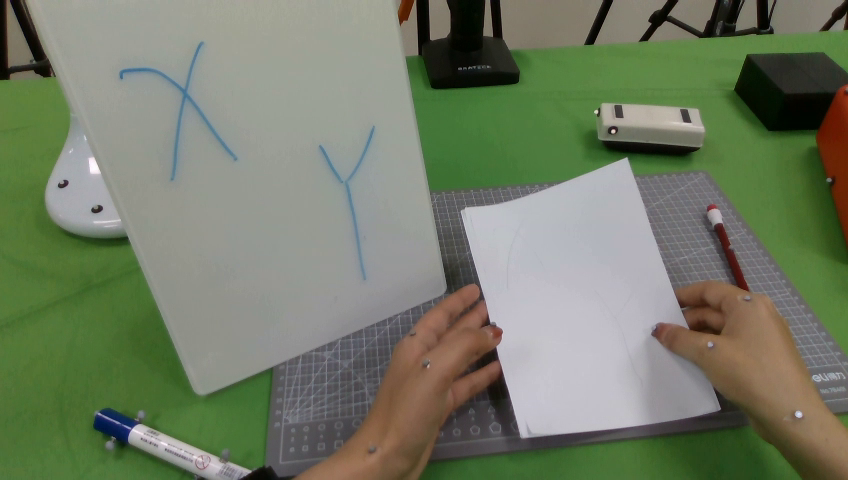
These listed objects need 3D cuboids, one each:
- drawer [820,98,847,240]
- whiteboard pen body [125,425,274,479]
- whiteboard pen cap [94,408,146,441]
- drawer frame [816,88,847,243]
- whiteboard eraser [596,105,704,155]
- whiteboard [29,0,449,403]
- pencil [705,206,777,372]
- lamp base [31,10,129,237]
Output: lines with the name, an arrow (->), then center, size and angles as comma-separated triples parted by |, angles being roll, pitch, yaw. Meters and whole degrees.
drawer -> 0.511, -0.048, 0.580 | 0.194, 0.074, 0.210 | 11, 43, 13
whiteboard pen body -> -0.161, 0.147, 0.412 | 0.140, 0.017, 0.017 | 14, 45, 17
whiteboard pen cap -> -0.215, 0.131, 0.429 | 0.033, 0.018, 0.018 | 14, 44, 19
drawer frame -> 0.512, -0.053, 0.582 | 0.201, 0.083, 0.212 | 10, 43, 12
whiteboard eraser -> 0.255, -0.125, 0.691 | 0.112, 0.042, 0.055 | 6, 44, 6
whiteboard -> -0.127, -0.071, 0.479 | 0.217, 0.308, 0.142 | -21, 27, -20
pencil -> 0.278, 0.035, 0.536 | 0.012, 0.012, 0.192 | 2, 44, 3
lamp base -> -0.314, -0.120, 0.582 | 0.178, 0.182, 0.160 | 24, 47, 27
